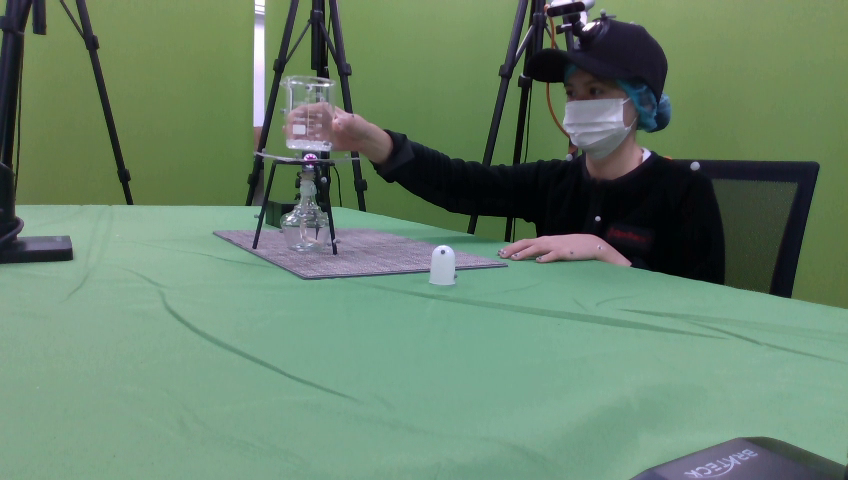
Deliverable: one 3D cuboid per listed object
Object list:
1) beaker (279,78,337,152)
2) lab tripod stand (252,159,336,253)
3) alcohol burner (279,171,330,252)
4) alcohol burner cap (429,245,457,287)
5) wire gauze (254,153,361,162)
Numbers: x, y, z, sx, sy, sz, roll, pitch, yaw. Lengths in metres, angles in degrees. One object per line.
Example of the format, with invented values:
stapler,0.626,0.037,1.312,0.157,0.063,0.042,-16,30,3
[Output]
beaker,-0.169,-0.179,0.877,0.084,0.100,0.074,3,7,2
lab tripod stand,-0.180,-0.053,0.900,0.148,0.131,0.148,1,6,0
alcohol burner,-0.174,-0.043,0.896,0.078,0.119,0.078,3,5,0
alcohol burner cap,0.024,0.030,0.705,0.034,0.048,0.034,2,6,0
wire gauze,-0.172,-0.119,0.891,0.122,0.011,0.124,-2,7,-38
